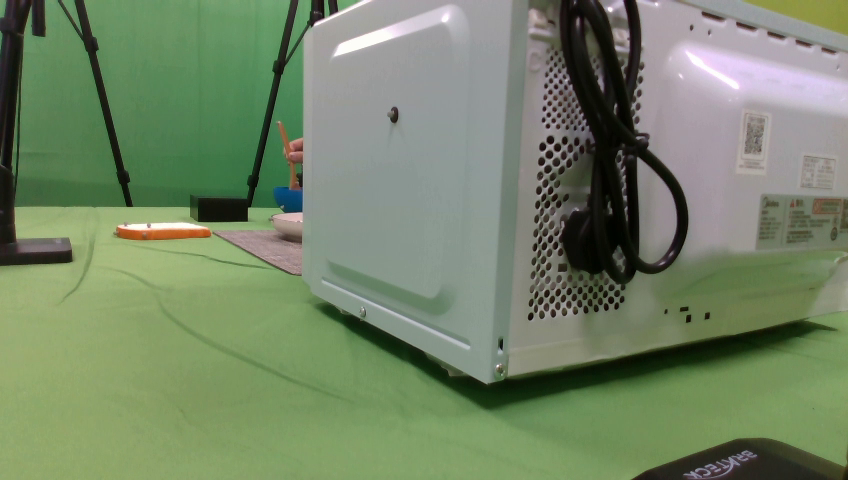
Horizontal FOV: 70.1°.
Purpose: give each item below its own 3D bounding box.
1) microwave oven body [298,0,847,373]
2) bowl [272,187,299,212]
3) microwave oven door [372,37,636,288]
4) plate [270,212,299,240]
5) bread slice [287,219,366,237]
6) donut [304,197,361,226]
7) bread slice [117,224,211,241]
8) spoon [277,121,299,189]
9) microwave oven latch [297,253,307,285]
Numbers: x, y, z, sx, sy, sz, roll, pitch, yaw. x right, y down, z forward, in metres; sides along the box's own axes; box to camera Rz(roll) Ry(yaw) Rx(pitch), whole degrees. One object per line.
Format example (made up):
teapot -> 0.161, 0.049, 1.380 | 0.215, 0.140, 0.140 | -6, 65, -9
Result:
microwave oven body -> 0.151, -0.055, 0.542 | 0.444, 0.260, 0.324 | -2, 7, -33
bowl -> -0.254, -0.075, 1.318 | 0.151, 0.077, 0.151 | 2, 7, 0
microwave oven door -> 0.109, -0.080, 0.686 | 0.358, 0.243, 0.039 | -2, 9, -33
plate -> -0.162, -0.022, 1.057 | 0.208, 0.039, 0.207 | 2, 7, 0
bread slice -> -0.170, -0.022, 1.056 | 0.134, 0.018, 0.107 | 2, 7, -6
donut -> -0.159, -0.050, 1.055 | 0.099, 0.048, 0.099 | 3, 8, 0
bread slice -> -0.443, -0.015, 1.022 | 0.132, 0.019, 0.104 | -3, 8, -45
spoon -> -0.295, -0.167, 1.333 | 0.021, 0.193, 0.042 | -5, 9, 36
microwave oven latch -> -0.081, 0.027, 0.582 | 0.079, 0.029, 0.030 | -1, 7, -32
